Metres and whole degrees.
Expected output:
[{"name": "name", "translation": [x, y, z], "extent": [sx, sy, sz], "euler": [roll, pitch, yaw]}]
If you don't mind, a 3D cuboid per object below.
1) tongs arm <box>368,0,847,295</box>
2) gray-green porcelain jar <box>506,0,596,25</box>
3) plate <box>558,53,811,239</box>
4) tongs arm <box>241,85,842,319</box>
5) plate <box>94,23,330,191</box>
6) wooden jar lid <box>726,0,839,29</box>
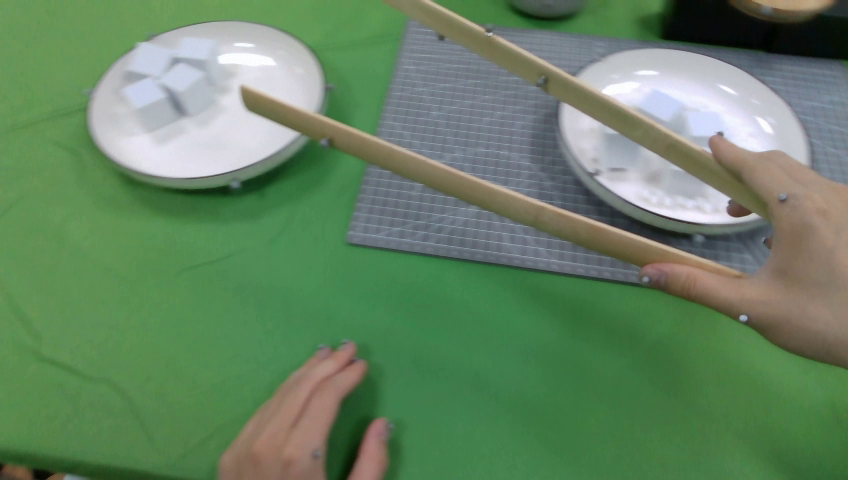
[{"name": "tongs arm", "translation": [0.095, -0.085, 0.412], "extent": [0.382, 0.027, 0.050], "euler": [33, 63, 17]}, {"name": "gray-green porcelain jar", "translation": [0.138, -0.301, 0.630], "extent": [0.106, 0.127, 0.105], "euler": [0, 55, 1]}, {"name": "plate", "translation": [0.220, -0.083, 0.529], "extent": [0.209, 0.038, 0.207], "euler": [0, 55, 0]}, {"name": "tongs arm", "translation": [0.052, -0.029, 0.379], "extent": [0.386, 0.028, 0.028], "euler": [22, 57, 12]}, {"name": "plate", "translation": [-0.189, -0.122, 0.559], "extent": [0.208, 0.039, 0.205], "euler": [0, 55, 0]}, {"name": "wooden jar lid", "translation": [0.346, -0.243, 0.594], "extent": [0.108, 0.021, 0.107], "euler": [0, 56, 0]}]
